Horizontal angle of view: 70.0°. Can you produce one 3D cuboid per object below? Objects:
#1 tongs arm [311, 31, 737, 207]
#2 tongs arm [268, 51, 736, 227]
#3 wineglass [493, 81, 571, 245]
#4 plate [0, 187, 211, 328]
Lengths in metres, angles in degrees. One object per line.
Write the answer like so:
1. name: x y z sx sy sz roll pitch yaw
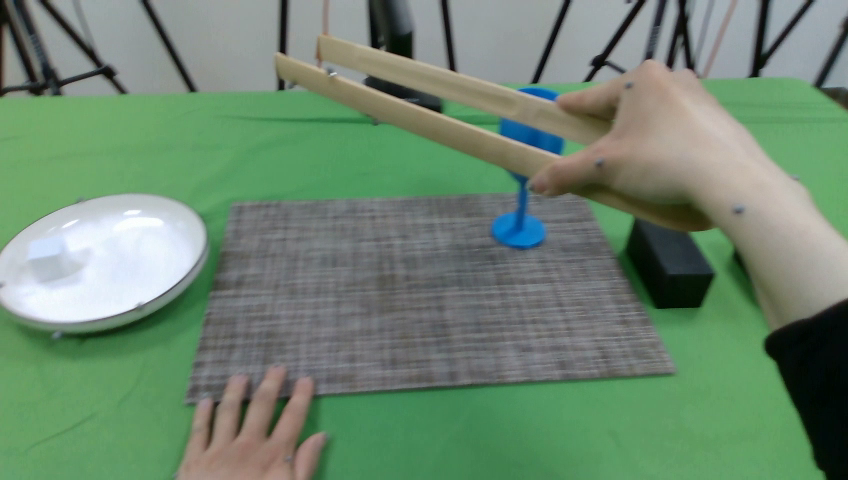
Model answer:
1. tongs arm: 0.047 -0.108 0.473 0.384 0.028 0.028 26 44 28
2. tongs arm: 0.027 -0.090 0.454 0.381 0.027 0.050 27 48 29
3. wineglass: 0.116 -0.082 0.670 0.074 0.174 0.073 1 41 -1
4. plate: -0.332 0.018 0.642 0.209 0.038 0.207 1 41 -1
